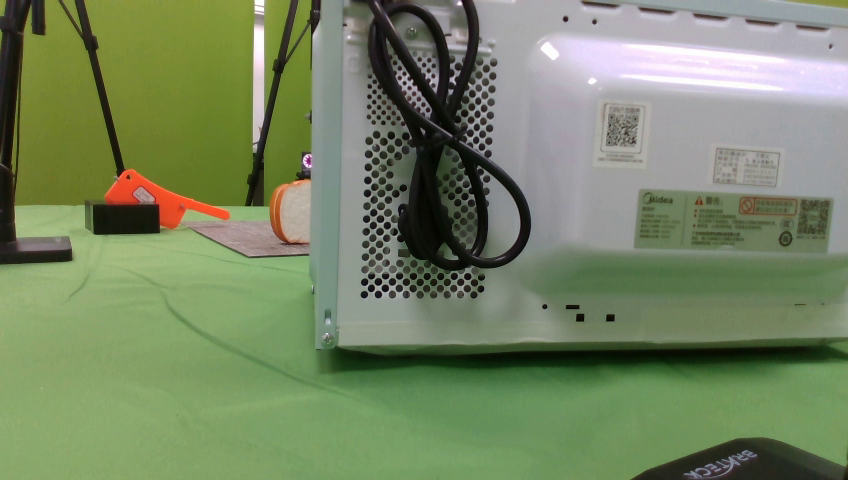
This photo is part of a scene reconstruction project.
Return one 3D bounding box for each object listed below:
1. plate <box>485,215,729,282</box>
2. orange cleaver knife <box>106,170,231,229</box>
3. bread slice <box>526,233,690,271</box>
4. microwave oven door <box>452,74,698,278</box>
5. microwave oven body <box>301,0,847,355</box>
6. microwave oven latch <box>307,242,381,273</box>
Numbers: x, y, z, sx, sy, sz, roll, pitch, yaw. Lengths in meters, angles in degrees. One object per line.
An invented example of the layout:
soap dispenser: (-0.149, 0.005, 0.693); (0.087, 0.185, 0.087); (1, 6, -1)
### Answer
plate: (0.159, 0.005, 0.545); (0.208, 0.039, 0.207); (-3, 7, 1)
orange cleaver knife: (-0.458, -0.060, 1.097); (0.212, 0.077, 0.012); (23, -4, -38)
bread slice: (0.175, 0.010, 0.564); (0.134, 0.018, 0.107); (-5, 6, 27)
microwave oven door: (0.183, -0.094, 0.836); (0.354, 0.243, 0.039); (9, 10, 44)
microwave oven body: (0.120, -0.053, 0.535); (0.443, 0.260, 0.325); (2, 7, -11)
microwave oven latch: (-0.086, 0.019, 0.656); (0.079, 0.029, 0.030); (2, 7, -10)
